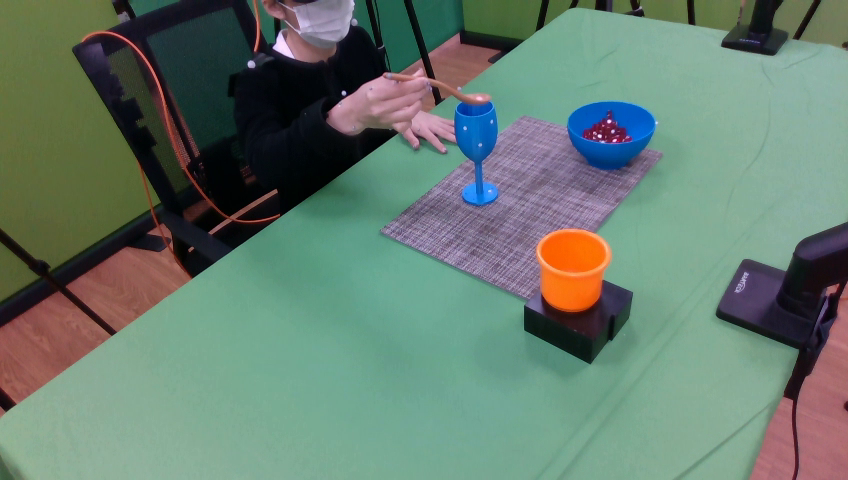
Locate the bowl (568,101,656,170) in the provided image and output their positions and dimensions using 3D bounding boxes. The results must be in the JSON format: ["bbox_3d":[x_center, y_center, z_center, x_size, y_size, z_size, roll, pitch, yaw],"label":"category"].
[{"bbox_3d":[0.332,-0.179,1.084,0.151,0.077,0.150,-4,40,4],"label":"bowl"}]

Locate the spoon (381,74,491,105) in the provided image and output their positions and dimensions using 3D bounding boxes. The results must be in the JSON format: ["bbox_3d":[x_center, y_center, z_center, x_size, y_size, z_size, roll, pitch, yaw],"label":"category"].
[{"bbox_3d":[0.020,-0.215,0.854,0.195,0.021,0.041,5,20,-40],"label":"spoon"}]

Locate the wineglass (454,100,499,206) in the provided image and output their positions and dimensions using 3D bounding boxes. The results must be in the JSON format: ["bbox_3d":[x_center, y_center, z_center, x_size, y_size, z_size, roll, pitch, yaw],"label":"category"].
[{"bbox_3d":[0.090,-0.145,1.009,0.074,0.173,0.073,-5,40,4],"label":"wineglass"}]
